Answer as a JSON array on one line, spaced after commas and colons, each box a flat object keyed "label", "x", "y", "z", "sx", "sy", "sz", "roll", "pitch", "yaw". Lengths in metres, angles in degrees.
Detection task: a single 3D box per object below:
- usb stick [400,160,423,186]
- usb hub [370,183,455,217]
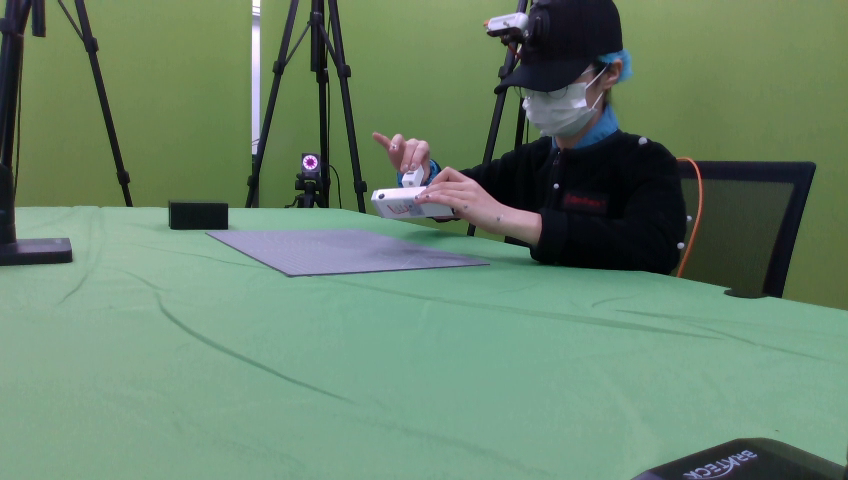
[{"label": "usb stick", "x": -0.021, "y": -0.097, "z": 0.951, "sx": 0.021, "sy": 0.027, "sz": 0.059, "roll": 0, "pitch": 50, "yaw": 23}, {"label": "usb hub", "x": -0.018, "y": -0.062, "z": 0.939, "sx": 0.125, "sy": 0.025, "sz": 0.050, "roll": -3, "pitch": -36, "yaw": 22}]
